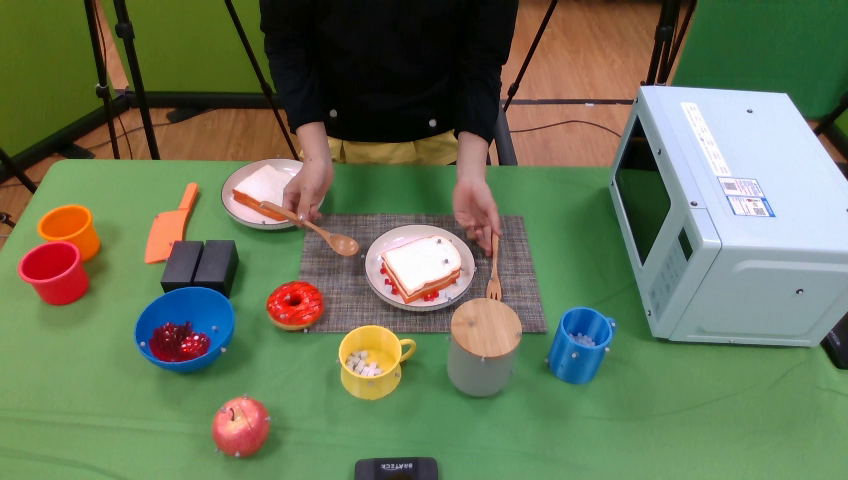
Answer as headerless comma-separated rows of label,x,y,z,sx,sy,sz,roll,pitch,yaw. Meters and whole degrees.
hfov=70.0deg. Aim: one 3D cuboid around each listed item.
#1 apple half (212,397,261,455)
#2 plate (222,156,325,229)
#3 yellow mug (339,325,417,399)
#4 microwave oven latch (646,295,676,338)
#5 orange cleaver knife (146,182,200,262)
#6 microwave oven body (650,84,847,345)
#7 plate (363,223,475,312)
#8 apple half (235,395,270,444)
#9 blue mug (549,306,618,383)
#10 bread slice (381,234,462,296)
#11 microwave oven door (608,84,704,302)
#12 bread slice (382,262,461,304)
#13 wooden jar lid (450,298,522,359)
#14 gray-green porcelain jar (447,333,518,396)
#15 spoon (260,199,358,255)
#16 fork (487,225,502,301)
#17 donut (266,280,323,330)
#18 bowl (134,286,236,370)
apple half,-0.276,0.276,0.877,0.053,0.075,0.080,-29,58,-21
plate,-0.308,-0.095,1.251,0.209,0.038,0.208,3,47,-3
yellow mug,-0.072,0.191,0.978,0.131,0.064,0.099,-17,49,-20
microwave oven latch,0.413,0.133,1.060,0.030,0.029,0.078,4,46,1
orange cleaver knife,-0.494,-0.039,1.198,0.077,0.012,0.210,-3,48,2
microwave oven body,0.569,-0.054,1.116,0.326,0.261,0.439,2,46,-1
plate,-0.009,0.054,1.126,0.208,0.039,0.206,2,46,-2
apple half,-0.245,0.260,0.893,0.033,0.082,0.081,-29,55,-22
blue mug,0.269,0.167,0.997,0.116,0.106,0.082,-19,50,-21
bread slice,0.001,0.038,1.107,0.134,0.018,0.106,-25,56,-23
microwave oven door,0.424,-0.096,1.138,0.039,0.245,0.353,2,46,-1
bread slice,0.000,0.056,1.129,0.131,0.019,0.104,-22,51,-20
wooden jar lid,0.093,0.135,0.914,0.108,0.021,0.107,2,48,-3
gray-green porcelain jar,0.091,0.178,0.960,0.106,0.127,0.105,2,46,-2
spoon,-0.208,-0.027,1.106,0.194,0.021,0.041,31,57,-18
fork,0.137,0.043,1.160,0.028,0.019,0.206,3,49,6
donut,-0.223,0.113,1.051,0.099,0.048,0.098,2,45,-2
bowl,-0.377,0.156,0.981,0.151,0.077,0.150,2,46,-2
